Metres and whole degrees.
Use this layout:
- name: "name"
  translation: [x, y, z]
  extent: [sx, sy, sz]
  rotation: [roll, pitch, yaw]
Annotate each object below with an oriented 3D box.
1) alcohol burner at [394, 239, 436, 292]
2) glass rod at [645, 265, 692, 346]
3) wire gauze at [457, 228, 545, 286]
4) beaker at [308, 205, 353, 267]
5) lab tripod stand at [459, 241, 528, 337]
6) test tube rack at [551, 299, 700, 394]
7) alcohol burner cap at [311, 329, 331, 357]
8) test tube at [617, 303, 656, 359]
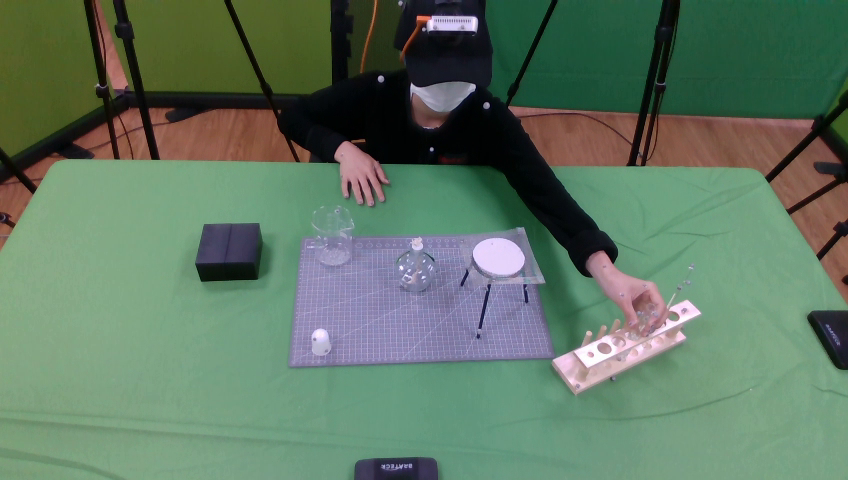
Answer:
- name: "alcohol burner"
  translation: [-0.016, 0.038, 1.093]
  extent: [0.078, 0.119, 0.077]
  rotation: [2, 48, -2]
- name: "glass rod"
  translation: [0.395, 0.112, 0.985]
  extent: [0.008, 0.200, 0.008]
  rotation: [3, 43, -3]
- name: "wire gauze"
  translation: [0.126, 0.029, 1.006]
  extent: [0.125, 0.011, 0.120]
  rotation: [-4, 46, -10]
- name: "beaker"
  translation: [-0.171, -0.004, 1.132]
  extent: [0.084, 0.101, 0.073]
  rotation: [16, 47, 10]
- name: "lab tripod stand"
  translation: [0.122, 0.075, 1.054]
  extent: [0.148, 0.132, 0.147]
  rotation: [3, 44, -3]
- name: "test tube rack"
  translation: [0.339, 0.166, 1.021]
  extent: [0.242, 0.085, 0.066]
  rotation: [-19, 50, -21]
- name: "alcohol burner cap"
  translation: [-0.173, 0.168, 1.005]
  extent: [0.034, 0.048, 0.033]
  rotation: [2, 46, -2]
- name: "test tube"
  translation: [0.337, 0.149, 0.967]
  extent: [0.017, 0.151, 0.017]
  rotation: [2, 49, -2]
